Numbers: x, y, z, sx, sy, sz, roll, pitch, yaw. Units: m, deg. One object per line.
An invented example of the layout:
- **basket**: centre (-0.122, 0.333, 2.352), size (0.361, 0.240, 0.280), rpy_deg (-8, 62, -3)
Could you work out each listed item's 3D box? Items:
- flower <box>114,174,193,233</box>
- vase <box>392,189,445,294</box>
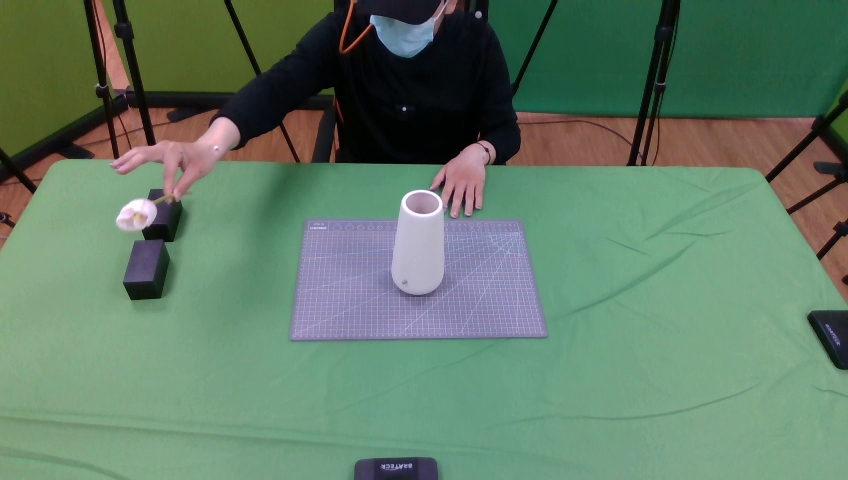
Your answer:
- **flower**: centre (-0.399, -0.071, 0.937), size (0.044, 0.038, 0.360), rpy_deg (-26, 18, -1)
- **vase**: centre (-0.007, 0.007, 1.060), size (0.098, 0.201, 0.097), rpy_deg (2, 48, -2)
